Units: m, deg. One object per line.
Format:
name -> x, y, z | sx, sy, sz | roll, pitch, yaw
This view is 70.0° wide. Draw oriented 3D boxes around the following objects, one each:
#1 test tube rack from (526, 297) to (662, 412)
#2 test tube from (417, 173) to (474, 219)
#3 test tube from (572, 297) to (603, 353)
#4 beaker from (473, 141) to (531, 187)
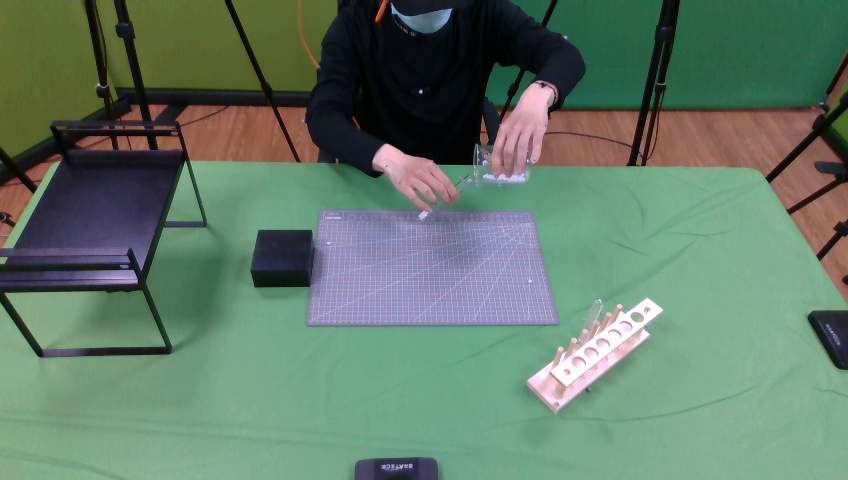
test tube rack -> 0.284, 0.176, 1.007 | 0.242, 0.085, 0.066 | -29, 54, -27
test tube -> 0.039, -0.083, 1.177 | 0.017, 0.150, 0.017 | 32, 38, -30
test tube -> 0.263, 0.141, 0.977 | 0.017, 0.151, 0.017 | 2, 47, -2
beaker -> 0.143, -0.139, 1.115 | 0.100, 0.084, 0.074 | 1, 14, 0
